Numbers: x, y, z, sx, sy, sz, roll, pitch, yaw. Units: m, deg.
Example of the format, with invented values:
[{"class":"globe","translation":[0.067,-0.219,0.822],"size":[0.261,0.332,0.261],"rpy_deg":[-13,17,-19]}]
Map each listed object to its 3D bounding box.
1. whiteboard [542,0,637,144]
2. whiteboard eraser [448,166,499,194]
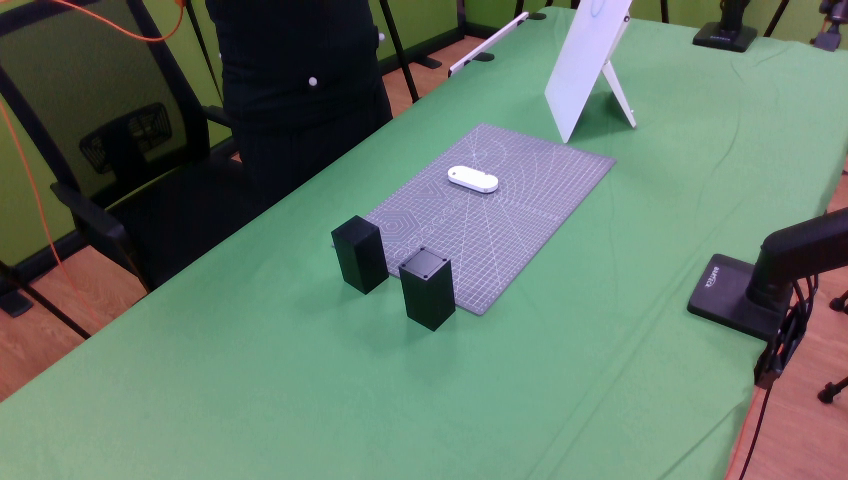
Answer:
[{"class":"whiteboard","translation":[0.366,-0.351,1.160],"size":[0.144,0.305,0.216],"rpy_deg":[10,39,-10]},{"class":"whiteboard eraser","translation":[0.088,-0.108,1.082],"size":[0.100,0.019,0.041],"rpy_deg":[22,49,31]}]
